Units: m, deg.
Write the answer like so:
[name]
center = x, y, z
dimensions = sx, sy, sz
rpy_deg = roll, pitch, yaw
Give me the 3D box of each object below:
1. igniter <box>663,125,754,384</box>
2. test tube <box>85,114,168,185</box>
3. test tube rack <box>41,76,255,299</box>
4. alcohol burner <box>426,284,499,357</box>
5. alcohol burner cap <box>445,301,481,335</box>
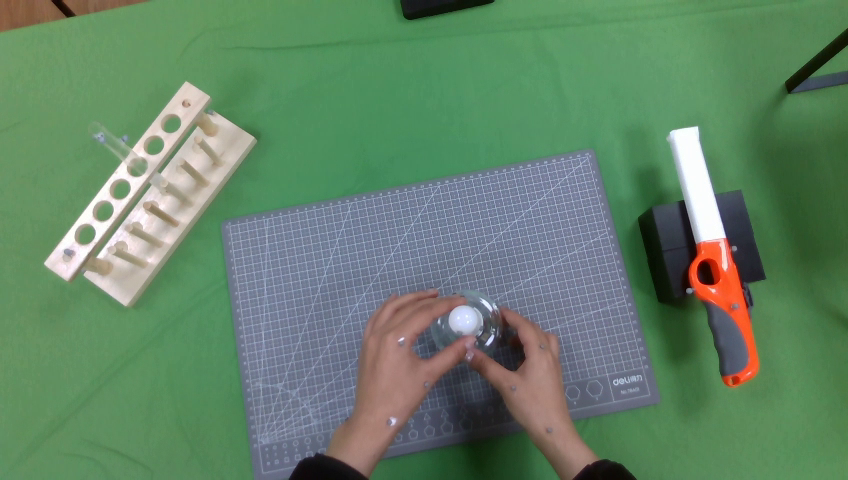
[igniter]
center = 0.299, 0.010, 0.639
dimensions = 0.057, 0.025, 0.275
rpy_deg = -8, 77, 2
[test tube]
center = -0.306, -0.091, 0.635
dimensions = 0.017, 0.151, 0.017
rpy_deg = 0, 74, 2
[test tube rack]
center = -0.299, -0.055, 0.678
dimensions = 0.066, 0.085, 0.242
rpy_deg = 34, 81, 7
[alcohol burner]
center = 0.041, 0.082, 0.630
dimensions = 0.078, 0.119, 0.077
rpy_deg = 0, 76, 0
[alcohol burner cap]
center = 0.036, 0.073, 0.577
dimensions = 0.034, 0.048, 0.033
rpy_deg = -2, 80, 12
